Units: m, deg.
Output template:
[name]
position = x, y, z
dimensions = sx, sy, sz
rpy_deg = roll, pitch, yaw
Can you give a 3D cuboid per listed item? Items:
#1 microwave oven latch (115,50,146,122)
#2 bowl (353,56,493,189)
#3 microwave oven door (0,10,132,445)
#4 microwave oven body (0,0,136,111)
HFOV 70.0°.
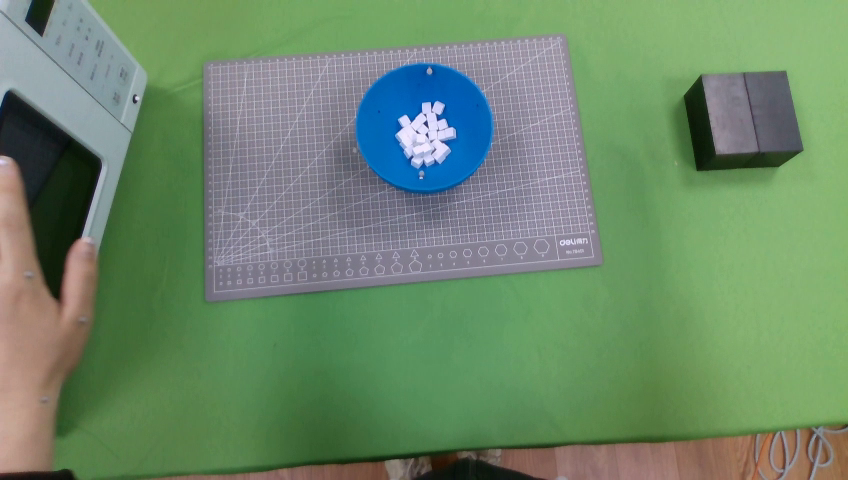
[microwave oven latch]
position = -0.346, -0.179, 0.700
dimensions = 0.030, 0.029, 0.079
rpy_deg = 10, 77, 2
[bowl]
position = -0.001, -0.120, 0.684
dimensions = 0.151, 0.077, 0.150
rpy_deg = 0, 77, 0
[microwave oven door]
position = -0.381, 0.007, 0.551
dimensions = 0.039, 0.245, 0.354
rpy_deg = 8, 76, 2
[microwave oven body]
position = -0.519, -0.054, 0.569
dimensions = 0.326, 0.261, 0.439
rpy_deg = 8, 77, 1
